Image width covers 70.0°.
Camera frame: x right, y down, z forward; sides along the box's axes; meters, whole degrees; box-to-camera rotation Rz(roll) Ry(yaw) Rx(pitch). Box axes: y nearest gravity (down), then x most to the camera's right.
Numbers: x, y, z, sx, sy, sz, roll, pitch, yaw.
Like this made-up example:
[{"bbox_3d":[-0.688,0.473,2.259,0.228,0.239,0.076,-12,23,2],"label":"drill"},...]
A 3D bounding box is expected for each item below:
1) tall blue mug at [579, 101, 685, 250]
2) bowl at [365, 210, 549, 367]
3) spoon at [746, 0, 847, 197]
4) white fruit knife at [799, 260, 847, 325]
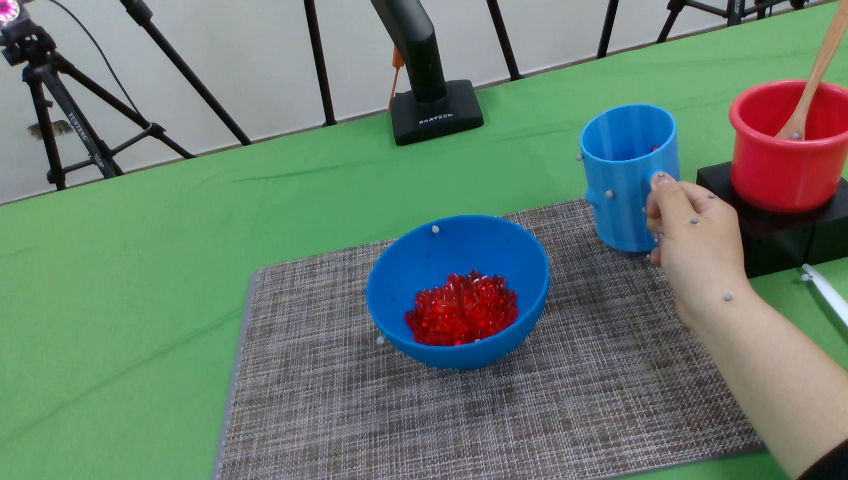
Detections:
[{"bbox_3d":[0.193,-0.049,0.524,0.077,0.109,0.106,-43,45,-18],"label":"tall blue mug"},{"bbox_3d":[0.033,0.053,0.510,0.151,0.077,0.150,-9,41,9],"label":"bowl"},{"bbox_3d":[0.318,-0.126,0.496,0.041,0.022,0.194,26,100,40],"label":"spoon"},{"bbox_3d":[0.331,0.083,0.437,0.027,0.016,0.205,8,37,-13],"label":"white fruit knife"}]
